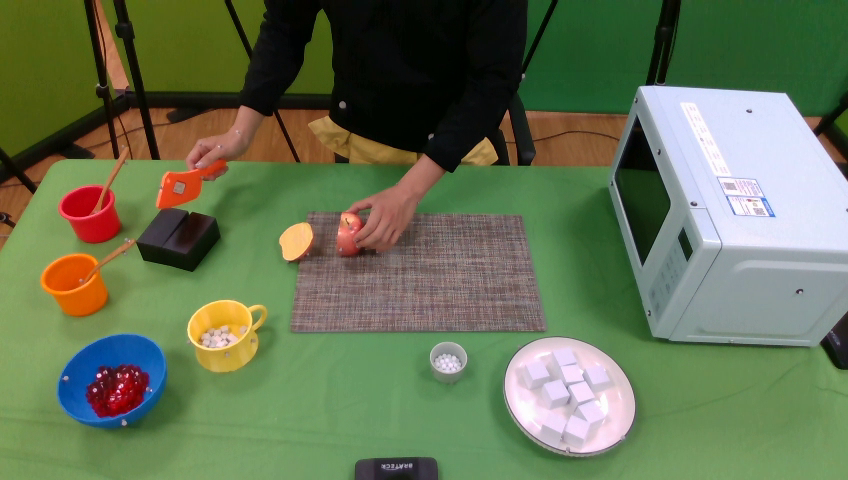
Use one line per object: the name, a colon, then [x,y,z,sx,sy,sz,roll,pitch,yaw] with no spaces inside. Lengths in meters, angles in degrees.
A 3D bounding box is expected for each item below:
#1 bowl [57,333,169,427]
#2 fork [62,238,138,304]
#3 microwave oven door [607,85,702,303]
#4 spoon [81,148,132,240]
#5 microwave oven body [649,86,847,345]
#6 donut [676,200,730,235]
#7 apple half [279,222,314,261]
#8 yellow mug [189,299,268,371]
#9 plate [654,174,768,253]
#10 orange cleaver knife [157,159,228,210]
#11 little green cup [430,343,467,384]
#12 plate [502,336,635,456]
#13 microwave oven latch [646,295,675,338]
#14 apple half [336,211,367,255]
bowl: [-0.456,0.223,0.912,0.151,0.077,0.150,3,45,-2]
fork: [-0.547,0.053,1.018,0.207,0.019,0.028,-36,41,23]
microwave oven door: [0.423,-0.094,1.141,0.039,0.245,0.353,2,46,-1]
spoon: [-0.603,-0.089,1.156,0.041,0.022,0.193,28,95,18]
microwave oven body: [0.568,-0.053,1.118,0.326,0.261,0.439,2,45,-1]
donut: [0.538,-0.045,1.170,0.099,0.048,0.098,4,31,-2]
apple half: [-0.237,0.007,1.158,0.081,0.033,0.081,-14,57,23]
yellow mug: [-0.316,0.148,1.002,0.131,0.064,0.099,-33,56,-31]
plate: [0.555,-0.049,1.186,0.209,0.038,0.208,1,47,-1]
orange cleaver knife: [-0.442,-0.110,1.167,0.012,0.077,0.211,20,22,8]
little green cup: [0.039,0.203,0.994,0.061,0.039,0.061,2,46,-2]
plate: [0.225,0.248,0.963,0.208,0.039,0.206,2,46,-2]
microwave oven latch: [0.412,0.134,1.061,0.030,0.029,0.078,4,45,1]
apple half: [-0.136,-0.010,1.157,0.053,0.075,0.080,6,42,-3]
